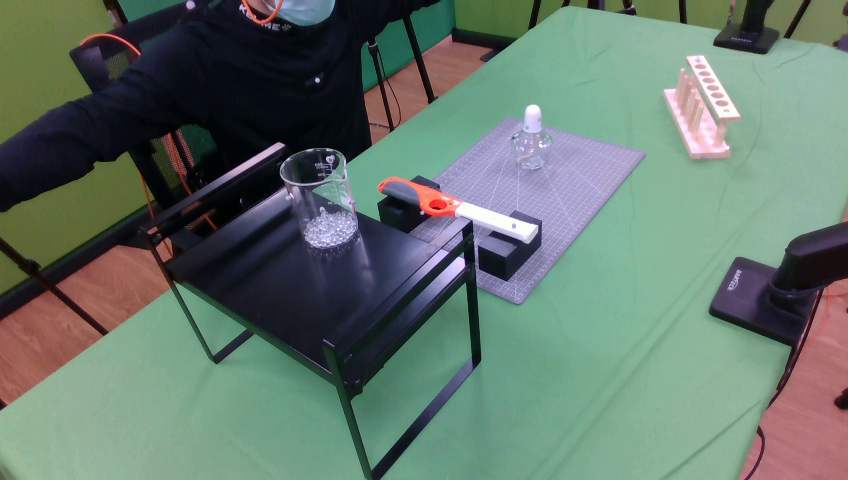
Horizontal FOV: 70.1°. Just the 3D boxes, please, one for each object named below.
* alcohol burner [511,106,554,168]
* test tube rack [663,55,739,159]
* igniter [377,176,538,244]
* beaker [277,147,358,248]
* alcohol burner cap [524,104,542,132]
[{"bbox_3d":[0.196,-0.190,1.088,0.078,0.119,0.077,-3,42,3],"label":"alcohol burner"},{"bbox_3d":[0.518,-0.256,1.144,0.066,0.085,0.241,-1,41,8],"label":"test tube rack"},{"bbox_3d":[0.046,-0.052,0.942,0.274,0.025,0.057,21,47,26],"label":"igniter"},{"bbox_3d":[-0.117,-0.046,0.705,0.083,0.101,0.074,17,47,25],"label":"beaker"},{"bbox_3d":[0.193,-0.216,1.065,0.034,0.048,0.033,-4,36,3],"label":"alcohol burner cap"}]
